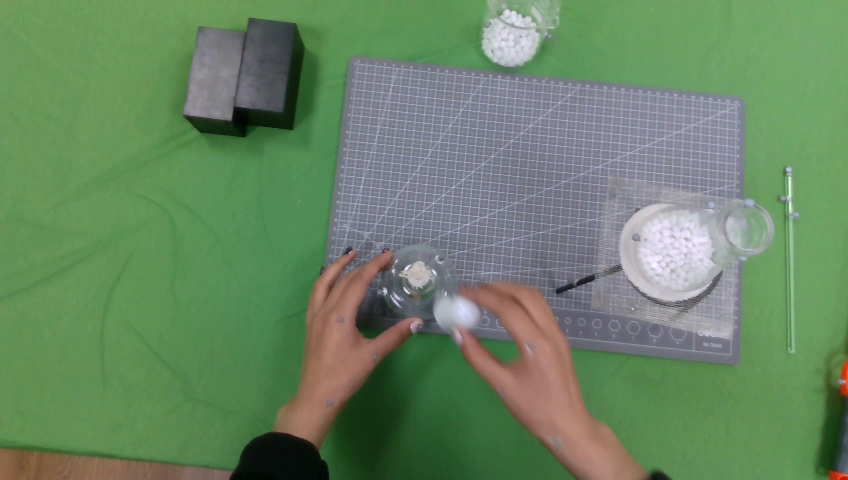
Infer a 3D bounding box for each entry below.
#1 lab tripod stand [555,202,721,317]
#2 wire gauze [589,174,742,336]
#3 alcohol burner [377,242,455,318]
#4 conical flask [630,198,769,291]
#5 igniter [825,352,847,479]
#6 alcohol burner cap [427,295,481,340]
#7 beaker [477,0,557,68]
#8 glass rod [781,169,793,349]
[{"bbox_3d":[0.211,0.024,0.591,0.148,0.132,0.148,0,83,0],"label":"lab tripod stand"},{"bbox_3d":[0.210,0.011,0.526,0.125,0.011,0.121,12,84,-2],"label":"wire gauze"},{"bbox_3d":[-0.008,0.038,0.593,0.078,0.119,0.077,0,82,0],"label":"alcohol burner"},{"bbox_3d":[0.215,-0.001,0.468,0.075,0.122,0.075,0,83,-1],"label":"conical flask"},{"bbox_3d":[0.468,0.118,0.640,0.057,0.025,0.275,19,81,-9],"label":"igniter"},{"bbox_3d":[0.028,0.063,0.515,0.034,0.048,0.033,17,60,-31],"label":"alcohol burner cap"},{"bbox_3d":[0.097,-0.234,0.648,0.084,0.100,0.074,42,83,4],"label":"beaker"},{"bbox_3d":[0.396,0.019,0.662,0.008,0.008,0.199,4,80,-1],"label":"glass rod"}]
